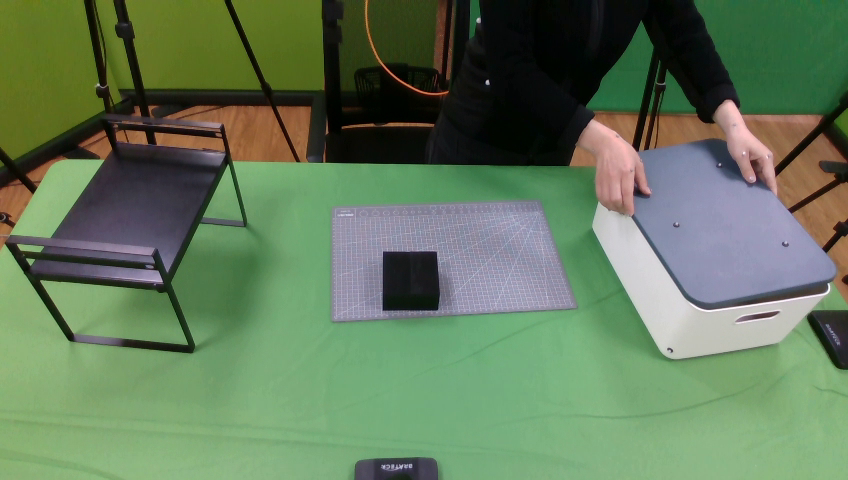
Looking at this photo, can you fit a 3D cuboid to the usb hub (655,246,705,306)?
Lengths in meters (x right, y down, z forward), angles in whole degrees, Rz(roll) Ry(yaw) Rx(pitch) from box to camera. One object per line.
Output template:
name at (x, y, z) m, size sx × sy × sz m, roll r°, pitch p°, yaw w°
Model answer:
usb hub at (0.483, 0.067, 1.148) m, size 0.049 × 0.025 × 0.124 m, roll -3°, pitch 51°, yaw -5°

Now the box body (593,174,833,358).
box body at (0.496, 0.023, 1.112) m, size 0.254 × 0.161 × 0.361 m, roll -7°, pitch 47°, yaw -10°

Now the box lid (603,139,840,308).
box lid at (0.497, -0.048, 1.054) m, size 0.263 × 0.015 × 0.369 m, roll -10°, pitch 47°, yaw -7°
